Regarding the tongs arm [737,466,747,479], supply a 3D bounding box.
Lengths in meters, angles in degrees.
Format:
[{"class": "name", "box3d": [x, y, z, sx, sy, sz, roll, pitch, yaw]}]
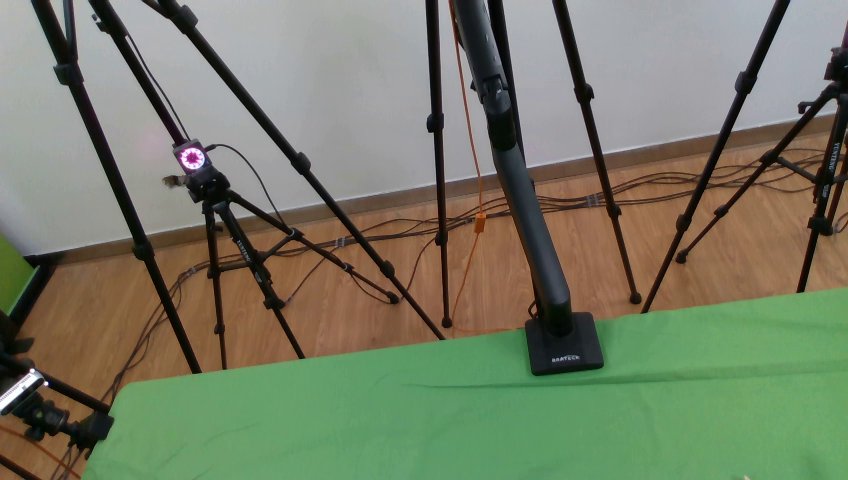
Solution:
[{"class": "tongs arm", "box3d": [0.436, 0.442, 0.687, 0.028, 0.028, 0.383, -29, 38, 24]}]
